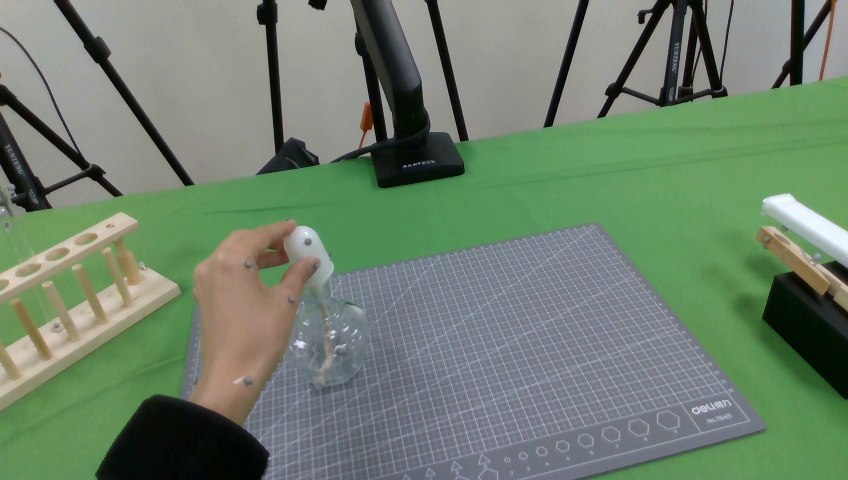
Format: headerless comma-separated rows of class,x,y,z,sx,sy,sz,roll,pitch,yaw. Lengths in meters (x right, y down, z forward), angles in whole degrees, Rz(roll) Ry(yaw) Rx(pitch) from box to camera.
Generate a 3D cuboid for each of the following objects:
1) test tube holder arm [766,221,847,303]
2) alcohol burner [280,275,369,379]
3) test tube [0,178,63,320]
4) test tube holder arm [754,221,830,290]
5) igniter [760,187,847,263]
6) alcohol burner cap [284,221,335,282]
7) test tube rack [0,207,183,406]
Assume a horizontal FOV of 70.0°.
test tube holder arm,0.335,0.037,0.490,0.013,0.015,0.176,-7,36,-12
alcohol burner,-0.087,0.061,0.515,0.078,0.120,0.077,-3,37,2
test tube,-0.371,0.013,0.568,0.017,0.151,0.017,-3,30,2
test tube holder arm,0.319,0.012,0.524,0.010,0.015,0.087,-7,36,-11
igniter,0.378,0.025,0.492,0.057,0.025,0.273,-12,33,-7
alcohol burner cap,-0.092,0.006,0.476,0.034,0.048,0.033,-7,41,7
test tube rack,-0.364,0.069,0.576,0.066,0.086,0.242,21,44,32
